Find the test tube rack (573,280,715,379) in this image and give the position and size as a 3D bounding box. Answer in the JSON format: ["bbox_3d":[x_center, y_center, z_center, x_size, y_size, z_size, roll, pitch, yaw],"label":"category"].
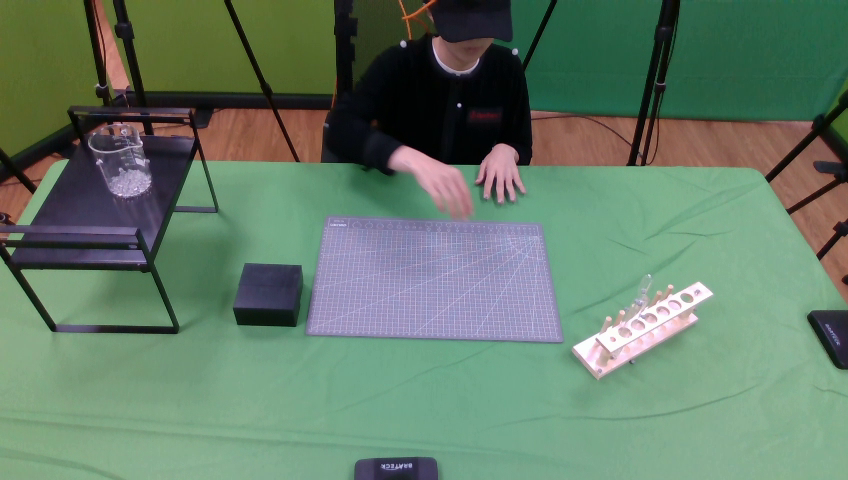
[{"bbox_3d":[0.378,0.140,1.038,0.242,0.085,0.066,-22,51,-23],"label":"test tube rack"}]

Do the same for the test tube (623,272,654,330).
[{"bbox_3d":[0.356,0.104,1.010,0.017,0.151,0.017,1,46,-1],"label":"test tube"}]

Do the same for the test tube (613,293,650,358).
[{"bbox_3d":[0.329,0.139,0.966,0.017,0.151,0.017,4,43,-3],"label":"test tube"}]

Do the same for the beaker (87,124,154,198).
[{"bbox_3d":[-0.482,-0.124,0.978,0.084,0.101,0.073,9,46,4],"label":"beaker"}]
